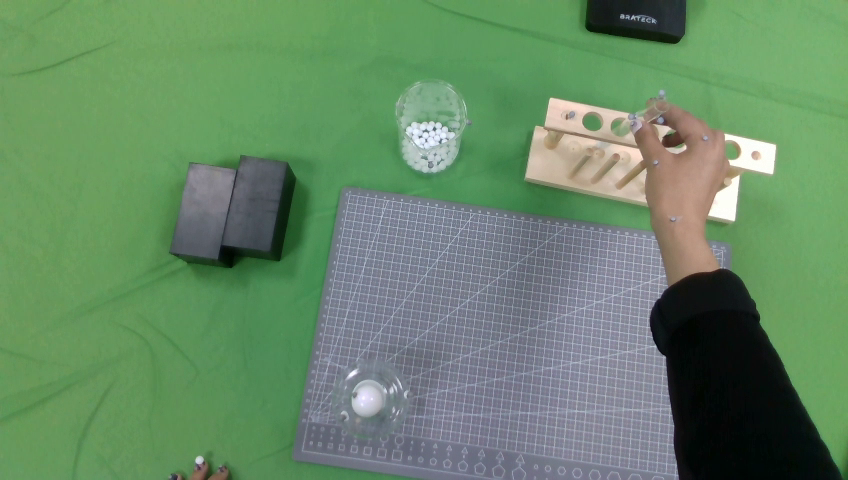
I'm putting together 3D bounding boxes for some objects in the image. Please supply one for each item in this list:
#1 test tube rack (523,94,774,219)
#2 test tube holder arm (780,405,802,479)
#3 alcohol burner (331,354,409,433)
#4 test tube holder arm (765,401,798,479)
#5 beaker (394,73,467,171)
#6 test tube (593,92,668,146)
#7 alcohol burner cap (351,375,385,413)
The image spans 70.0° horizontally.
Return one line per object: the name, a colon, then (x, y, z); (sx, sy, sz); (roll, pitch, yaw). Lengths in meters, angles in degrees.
test tube rack: (0.241, -0.090, 0.671); (0.242, 0.085, 0.066); (12, 78, 1)
test tube holder arm: (0.385, 0.218, 0.646); (0.010, 0.015, 0.087); (27, 77, -28)
alcohol burner: (-0.053, 0.150, 0.592); (0.078, 0.119, 0.077); (1, 76, -3)
test tube holder arm: (0.366, 0.257, 0.634); (0.013, 0.015, 0.178); (26, 78, -28)
beaker: (0.005, -0.121, 0.661); (0.074, 0.100, 0.083); (11, 78, 1)
test tube: (0.207, -0.120, 0.623); (0.017, 0.150, 0.017); (1, 85, -6)
alcohol burner cap: (-0.053, 0.144, 0.556); (0.034, 0.048, 0.034); (0, 83, -2)
